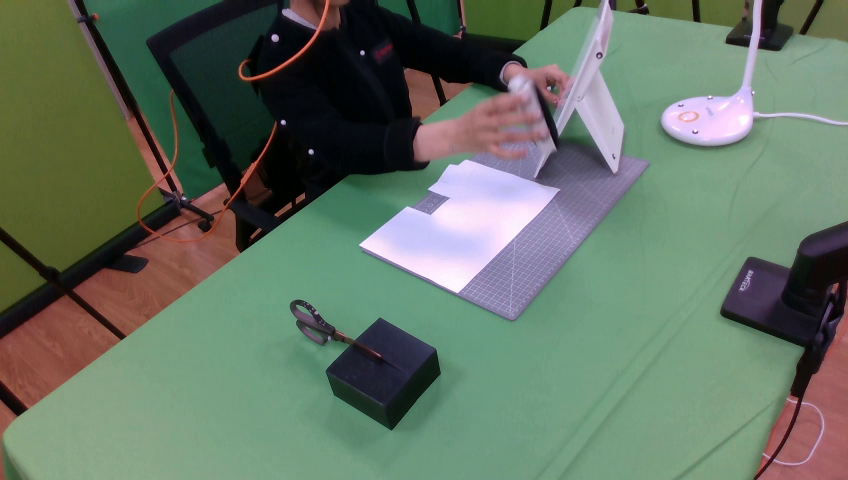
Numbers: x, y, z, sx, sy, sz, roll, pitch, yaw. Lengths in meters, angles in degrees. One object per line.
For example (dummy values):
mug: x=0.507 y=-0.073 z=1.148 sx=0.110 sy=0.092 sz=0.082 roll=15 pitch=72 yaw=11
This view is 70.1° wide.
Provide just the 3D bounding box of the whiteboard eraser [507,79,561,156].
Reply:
whiteboard eraser: x=0.166 y=-0.184 z=0.896 sx=0.042 sy=0.113 sz=0.055 roll=-29 pitch=30 yaw=10

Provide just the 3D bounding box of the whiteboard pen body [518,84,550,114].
whiteboard pen body: x=0.241 y=-0.306 z=1.291 sx=0.017 sy=0.017 sz=0.141 roll=22 pitch=51 yaw=32

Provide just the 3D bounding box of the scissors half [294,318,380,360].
scissors half: x=-0.118 y=0.135 z=0.809 sx=0.173 sy=0.040 sz=0.013 roll=9 pitch=37 yaw=44

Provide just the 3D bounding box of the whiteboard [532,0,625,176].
whiteboard: x=0.320 y=-0.258 z=1.050 sx=0.144 sy=0.306 sz=0.217 roll=21 pitch=45 yaw=5

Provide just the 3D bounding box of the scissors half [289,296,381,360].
scissors half: x=-0.120 y=0.117 z=0.798 sx=0.174 sy=0.040 sz=0.013 roll=27 pitch=43 yaw=31

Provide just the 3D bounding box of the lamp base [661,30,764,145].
lamp base: x=0.535 y=-0.287 z=1.096 sx=0.179 sy=0.181 sz=0.159 roll=-10 pitch=40 yaw=-4

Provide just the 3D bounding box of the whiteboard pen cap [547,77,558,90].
whiteboard pen cap: x=0.279 y=-0.341 z=1.321 sx=0.018 sy=0.018 sz=0.033 roll=22 pitch=52 yaw=31
